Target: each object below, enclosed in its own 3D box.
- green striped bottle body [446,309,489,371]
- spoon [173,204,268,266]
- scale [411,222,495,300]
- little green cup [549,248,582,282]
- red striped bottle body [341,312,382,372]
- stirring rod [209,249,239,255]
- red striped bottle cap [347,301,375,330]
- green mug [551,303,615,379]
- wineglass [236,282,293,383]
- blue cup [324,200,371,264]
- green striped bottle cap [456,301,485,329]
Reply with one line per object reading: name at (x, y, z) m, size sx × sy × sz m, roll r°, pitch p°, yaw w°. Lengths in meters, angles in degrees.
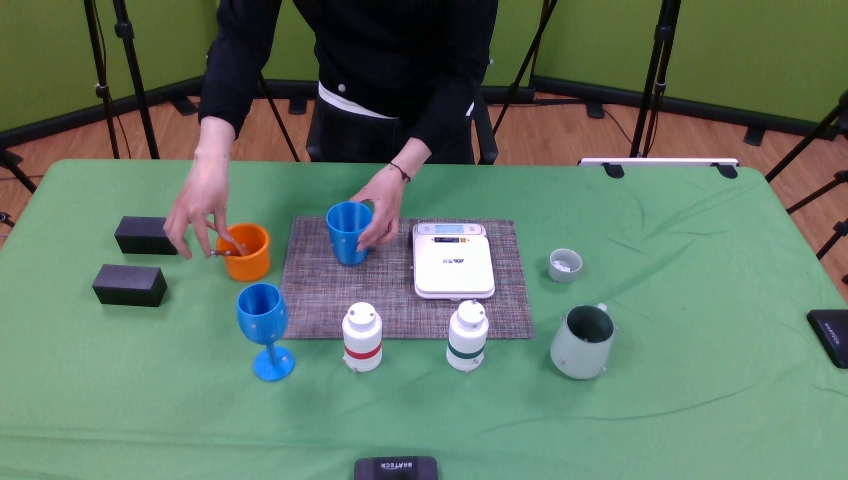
green striped bottle body at (0.070, 0.155, 0.984) m, size 0.063 × 0.120 × 0.063 m, roll 2°, pitch 46°, yaw -2°
spoon at (-0.363, -0.009, 1.089) m, size 0.021 × 0.195 × 0.041 m, roll -42°, pitch 28°, yaw 13°
scale at (0.052, 0.031, 1.158) m, size 0.149 × 0.032 × 0.199 m, roll 1°, pitch 46°, yaw -4°
little green cup at (0.268, 0.050, 1.156) m, size 0.061 × 0.039 × 0.061 m, roll 1°, pitch 46°, yaw -1°
red striped bottle body at (-0.100, 0.154, 0.972) m, size 0.063 × 0.120 × 0.062 m, roll 2°, pitch 46°, yaw -1°
stirring rod at (-0.343, 0.022, 1.060) m, size 0.014 × 0.176 × 0.006 m, roll 23°, pitch 88°, yaw -2°
red striped bottle cap at (-0.097, 0.116, 0.934) m, size 0.044 × 0.018 × 0.044 m, roll 3°, pitch 49°, yaw -3°
green mug at (0.271, 0.158, 1.007) m, size 0.092 × 0.105 × 0.125 m, roll 27°, pitch 50°, yaw 21°
wineglass at (-0.243, 0.143, 0.934) m, size 0.074 × 0.173 × 0.073 m, roll 2°, pitch 46°, yaw -2°
blue cup at (-0.141, -0.009, 1.132) m, size 0.093 × 0.101 × 0.092 m, roll 2°, pitch 46°, yaw -2°
green striped bottle cap at (0.073, 0.116, 0.943) m, size 0.044 × 0.020 × 0.044 m, roll 3°, pitch 46°, yaw -3°
